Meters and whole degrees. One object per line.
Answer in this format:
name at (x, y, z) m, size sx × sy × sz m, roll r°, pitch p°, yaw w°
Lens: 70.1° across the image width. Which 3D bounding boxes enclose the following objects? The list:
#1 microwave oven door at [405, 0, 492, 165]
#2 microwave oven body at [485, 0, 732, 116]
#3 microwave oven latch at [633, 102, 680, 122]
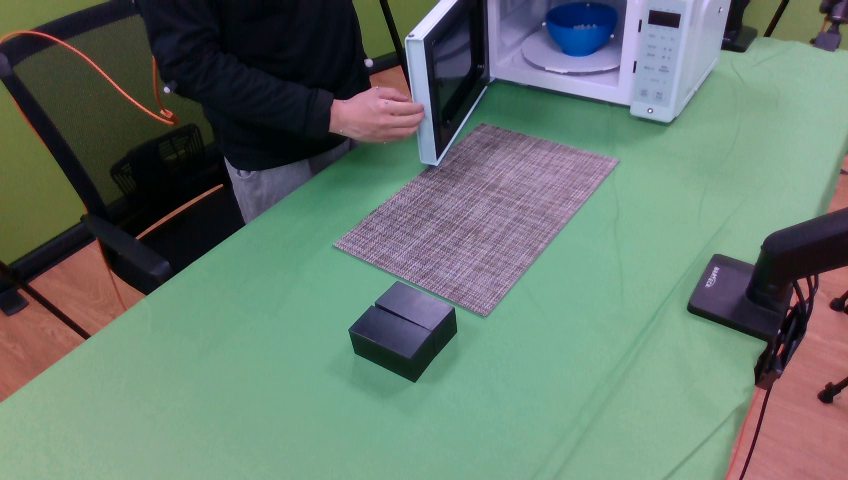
microwave oven door at (0.058, -0.343, 1.165) m, size 0.039 × 0.245 × 0.355 m, roll 10°, pitch 43°, yaw 20°
microwave oven body at (0.377, -0.462, 1.267) m, size 0.438 × 0.261 × 0.327 m, roll 21°, pitch 48°, yaw 30°
microwave oven latch at (0.444, -0.249, 1.157) m, size 0.078 × 0.029 × 0.030 m, roll 21°, pitch 49°, yaw 30°
